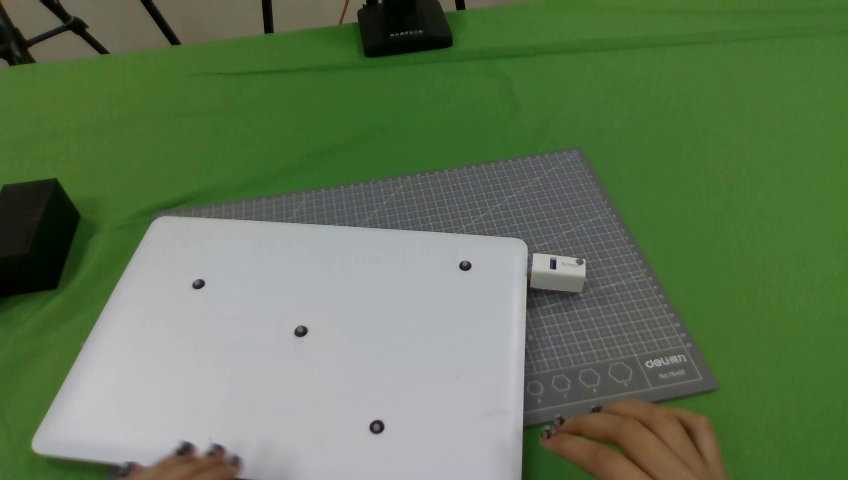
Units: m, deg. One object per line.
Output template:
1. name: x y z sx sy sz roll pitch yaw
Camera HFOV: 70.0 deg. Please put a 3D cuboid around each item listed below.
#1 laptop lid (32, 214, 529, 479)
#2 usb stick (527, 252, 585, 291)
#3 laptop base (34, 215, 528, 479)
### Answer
1. laptop lid: -0.097 0.075 0.484 0.356 0.013 0.239 5 51 8
2. usb stick: 0.105 0.027 0.514 0.059 0.027 0.021 4 50 10
3. laptop base: -0.096 0.081 0.494 0.354 0.023 0.233 4 52 7
